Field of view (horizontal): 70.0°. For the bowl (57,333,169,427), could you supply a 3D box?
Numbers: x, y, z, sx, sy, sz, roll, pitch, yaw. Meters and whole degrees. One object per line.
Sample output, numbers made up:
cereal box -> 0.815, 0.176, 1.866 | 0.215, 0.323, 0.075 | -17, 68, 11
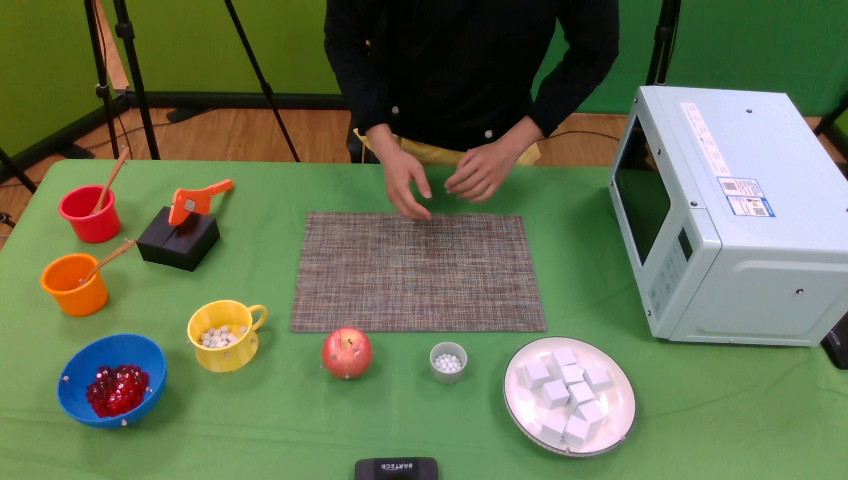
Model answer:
bowl -> -0.456, 0.223, 0.912 | 0.151, 0.077, 0.150 | 3, 45, -2

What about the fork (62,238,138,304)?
fork -> -0.547, 0.053, 1.018 | 0.207, 0.019, 0.028 | -36, 41, 23

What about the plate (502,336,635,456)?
plate -> 0.225, 0.248, 0.963 | 0.208, 0.039, 0.206 | 2, 46, -2

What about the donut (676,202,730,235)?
donut -> 0.538, -0.042, 1.170 | 0.099, 0.048, 0.098 | 5, 25, -2

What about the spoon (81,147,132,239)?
spoon -> -0.603, -0.089, 1.156 | 0.041, 0.022, 0.193 | 27, 95, 20

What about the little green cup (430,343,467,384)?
little green cup -> 0.039, 0.203, 0.994 | 0.061, 0.039, 0.061 | 2, 46, -2

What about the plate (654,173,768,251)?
plate -> 0.556, -0.050, 1.187 | 0.209, 0.038, 0.208 | 1, 46, -1

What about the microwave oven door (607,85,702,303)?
microwave oven door -> 0.423, -0.094, 1.141 | 0.039, 0.245, 0.353 | 2, 46, -1

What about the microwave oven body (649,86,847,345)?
microwave oven body -> 0.568, -0.053, 1.118 | 0.326, 0.261, 0.439 | 2, 45, -1

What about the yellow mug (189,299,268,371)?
yellow mug -> -0.316, 0.148, 1.002 | 0.131, 0.064, 0.099 | -33, 56, -31

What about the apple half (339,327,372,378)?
apple half -> -0.111, 0.182, 0.980 | 0.053, 0.075, 0.080 | -2, 42, -12

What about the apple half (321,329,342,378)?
apple half -> -0.150, 0.186, 0.972 | 0.033, 0.081, 0.080 | -2, 46, -13

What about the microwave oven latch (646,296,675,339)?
microwave oven latch -> 0.412, 0.134, 1.061 | 0.030, 0.029, 0.078 | 3, 45, 0

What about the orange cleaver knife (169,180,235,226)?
orange cleaver knife -> -0.436, -0.076, 1.199 | 0.012, 0.077, 0.211 | 17, 17, 9
